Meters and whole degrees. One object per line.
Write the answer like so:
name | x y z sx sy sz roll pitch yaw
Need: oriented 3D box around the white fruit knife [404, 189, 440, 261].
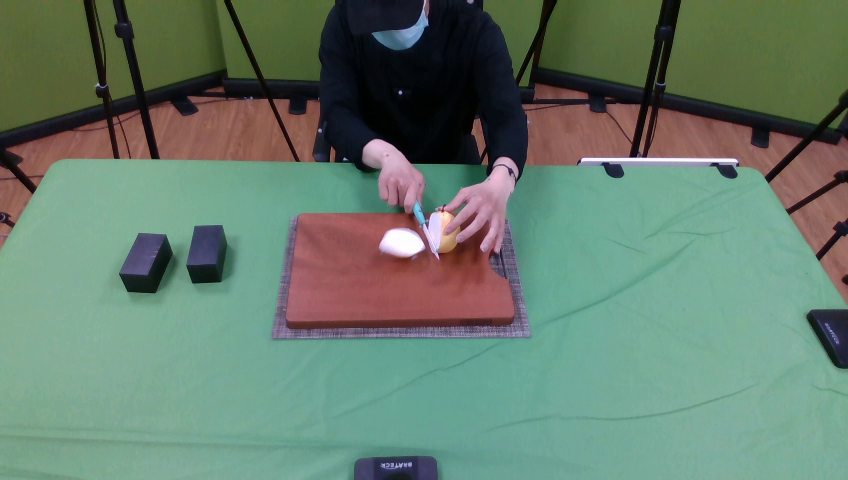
white fruit knife | -0.003 -0.033 1.172 0.016 0.027 0.206 -11 47 -16

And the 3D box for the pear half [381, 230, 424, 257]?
pear half | -0.043 0.013 1.127 0.088 0.031 0.070 -12 38 -34

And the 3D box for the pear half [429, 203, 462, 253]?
pear half | 0.043 -0.028 1.124 0.056 0.110 0.076 -11 52 -18
